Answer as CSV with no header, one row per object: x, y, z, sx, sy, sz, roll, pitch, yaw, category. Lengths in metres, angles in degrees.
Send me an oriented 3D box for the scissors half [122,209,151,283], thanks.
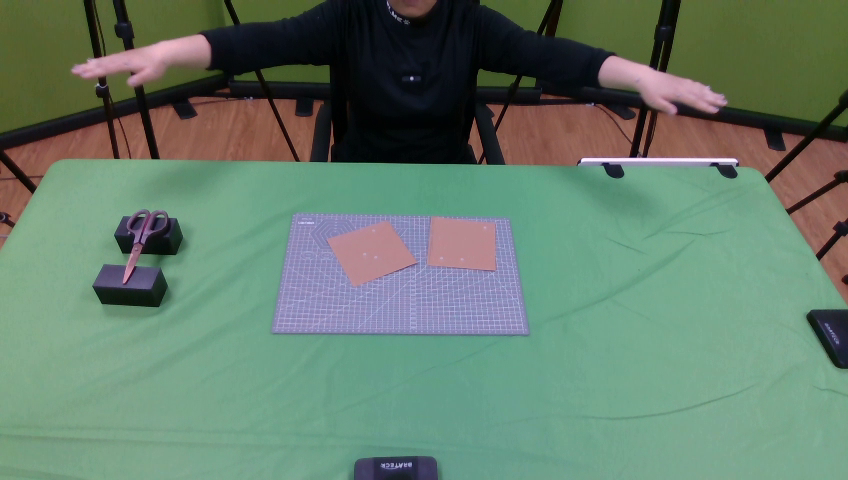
-0.521,0.009,1.085,0.040,0.013,0.174,0,48,-14,scissors half

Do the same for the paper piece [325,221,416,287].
-0.105,0.022,1.174,0.135,0.004,0.135,-19,50,-21,paper piece

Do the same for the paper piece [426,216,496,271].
0.075,0.006,1.204,0.138,0.009,0.135,6,49,1,paper piece

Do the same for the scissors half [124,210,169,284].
-0.501,0.010,1.088,0.040,0.013,0.174,8,47,1,scissors half
